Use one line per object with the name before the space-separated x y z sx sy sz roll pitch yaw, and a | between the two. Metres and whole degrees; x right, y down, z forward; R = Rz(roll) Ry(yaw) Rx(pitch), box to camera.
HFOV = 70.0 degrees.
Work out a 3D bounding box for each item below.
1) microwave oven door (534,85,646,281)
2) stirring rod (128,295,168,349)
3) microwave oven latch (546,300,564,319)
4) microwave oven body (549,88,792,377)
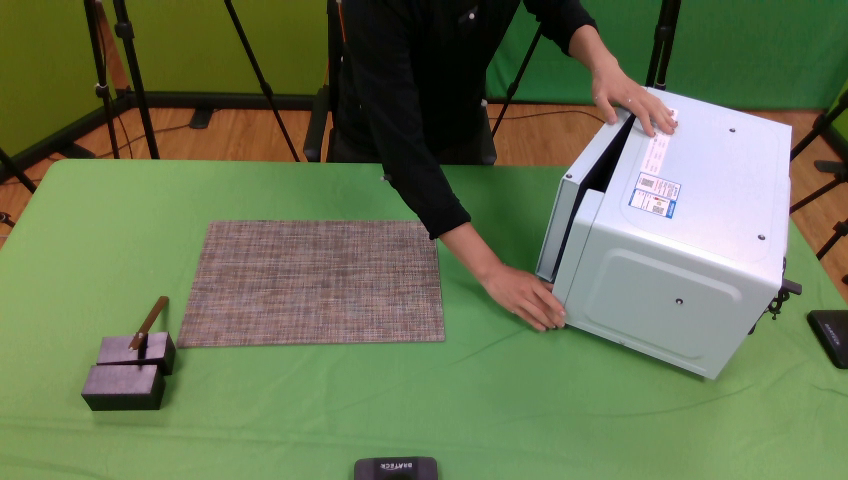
microwave oven door | 0.322 -0.115 1.156 0.039 0.245 0.355 27 50 20
stirring rod | -0.451 0.131 0.996 0.014 0.006 0.175 9 21 -10
microwave oven latch | 0.244 0.103 1.079 0.030 0.029 0.079 25 49 20
microwave oven body | 0.456 -0.028 1.087 0.325 0.261 0.440 20 47 16
